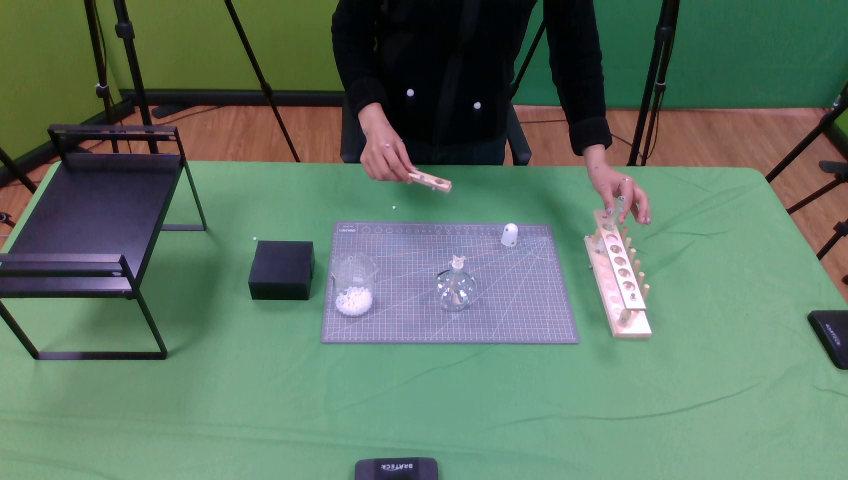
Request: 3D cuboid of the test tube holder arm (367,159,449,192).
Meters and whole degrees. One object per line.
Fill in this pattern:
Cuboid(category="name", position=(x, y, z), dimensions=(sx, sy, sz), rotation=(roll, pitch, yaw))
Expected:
Cuboid(category="test tube holder arm", position=(-0.032, -0.123, 1.137), dimensions=(0.178, 0.015, 0.013), rotation=(19, 58, 22))

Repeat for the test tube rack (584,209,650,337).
Cuboid(category="test tube rack", position=(0.365, 0.056, 1.129), dimensions=(0.067, 0.085, 0.240), rotation=(1, 46, -3))

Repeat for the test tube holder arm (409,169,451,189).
Cuboid(category="test tube holder arm", position=(0.010, -0.113, 1.123), dimensions=(0.087, 0.015, 0.010), rotation=(20, 58, 23))

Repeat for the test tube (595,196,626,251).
Cuboid(category="test tube", position=(0.349, -0.028, 1.140), dimensions=(0.017, 0.151, 0.017), rotation=(2, 52, -2))

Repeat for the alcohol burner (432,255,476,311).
Cuboid(category="alcohol burner", position=(0.055, 0.070, 1.068), dimensions=(0.078, 0.119, 0.077), rotation=(3, 45, -3))

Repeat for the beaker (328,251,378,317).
Cuboid(category="beaker", position=(-0.123, 0.079, 1.055), dimensions=(0.084, 0.101, 0.073), rotation=(0, 46, -5))

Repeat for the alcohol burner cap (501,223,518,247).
Cuboid(category="alcohol burner cap", position=(0.172, -0.013, 1.206), dimensions=(0.034, 0.048, 0.033), rotation=(1, 45, -1))
